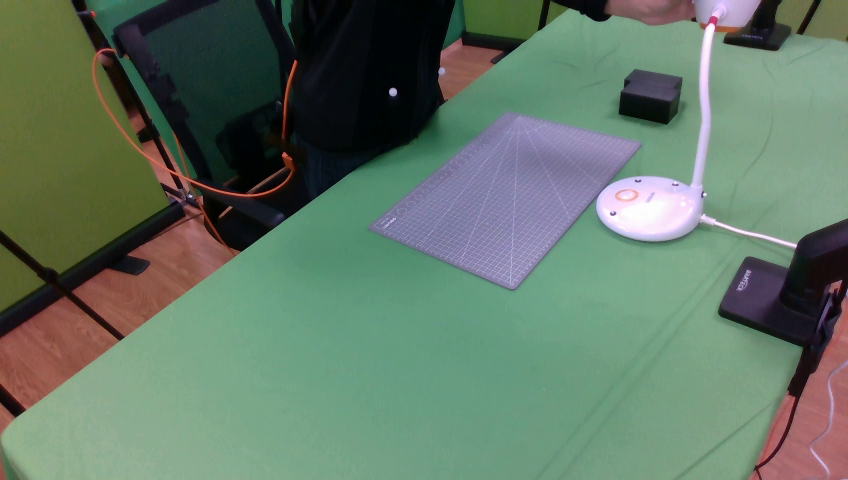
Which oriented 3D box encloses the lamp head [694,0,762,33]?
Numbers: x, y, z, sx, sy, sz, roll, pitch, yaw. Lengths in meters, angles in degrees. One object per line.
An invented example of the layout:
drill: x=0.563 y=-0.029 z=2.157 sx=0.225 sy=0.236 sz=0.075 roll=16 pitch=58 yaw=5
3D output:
lamp head: x=0.439 y=-0.361 z=0.870 sx=0.112 sy=0.123 sz=0.112 roll=2 pitch=28 yaw=-1

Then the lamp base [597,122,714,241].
lamp base: x=0.364 y=-0.109 z=0.921 sx=0.178 sy=0.181 sz=0.160 roll=13 pitch=45 yaw=21

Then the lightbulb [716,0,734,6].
lightbulb: x=0.438 y=-0.390 z=0.861 sx=0.059 sy=0.108 sz=0.059 roll=-2 pitch=30 yaw=2
